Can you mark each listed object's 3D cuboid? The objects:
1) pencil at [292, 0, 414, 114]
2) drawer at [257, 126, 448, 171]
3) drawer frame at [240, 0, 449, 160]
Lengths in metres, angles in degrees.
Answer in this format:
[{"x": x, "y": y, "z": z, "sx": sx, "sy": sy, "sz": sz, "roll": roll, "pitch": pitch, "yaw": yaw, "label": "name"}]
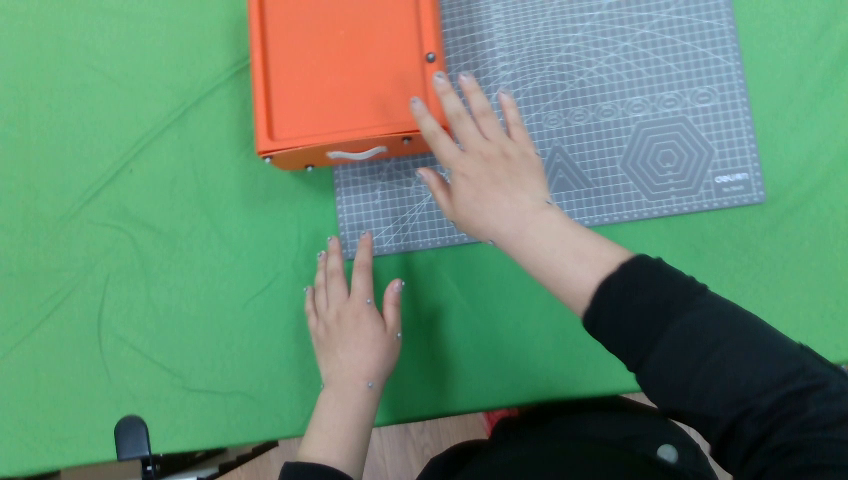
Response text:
[{"x": -0.079, "y": -0.204, "z": 0.672, "sx": 0.193, "sy": 0.012, "sz": 0.012, "roll": 44, "pitch": 92, "yaw": 9, "label": "pencil"}, {"x": -0.084, "y": -0.191, "z": 0.650, "sx": 0.194, "sy": 0.073, "sz": 0.211, "roll": -7, "pitch": 83, "yaw": 8, "label": "drawer"}, {"x": -0.086, "y": -0.196, "z": 0.650, "sx": 0.201, "sy": 0.083, "sz": 0.213, "roll": -8, "pitch": 83, "yaw": 8, "label": "drawer frame"}]
